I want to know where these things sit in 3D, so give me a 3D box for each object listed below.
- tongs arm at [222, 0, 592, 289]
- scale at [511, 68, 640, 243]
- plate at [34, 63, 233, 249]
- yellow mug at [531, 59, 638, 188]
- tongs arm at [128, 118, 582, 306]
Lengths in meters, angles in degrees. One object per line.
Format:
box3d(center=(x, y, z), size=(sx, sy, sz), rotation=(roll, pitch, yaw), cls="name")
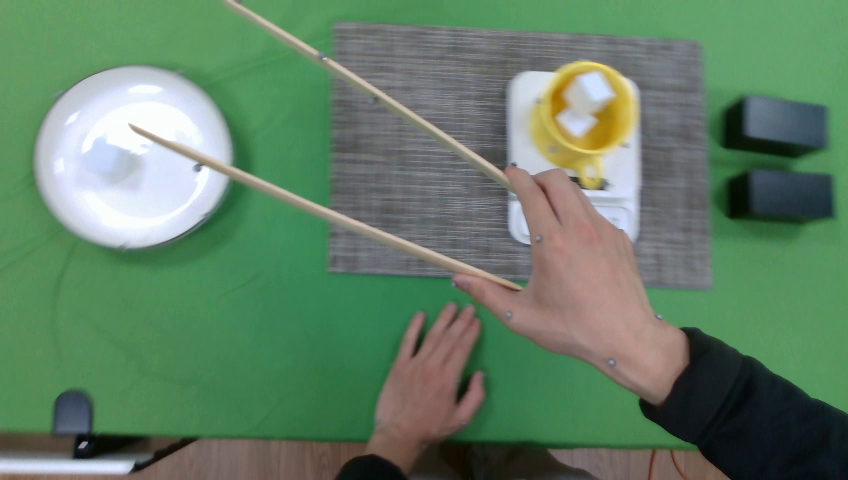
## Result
box3d(center=(-0.029, -0.087, 0.480), size=(0.383, 0.026, 0.050), rotation=(33, 82, 12), cls="tongs arm")
box3d(center=(0.176, -0.098, 0.706), size=(0.149, 0.031, 0.200), rotation=(2, 84, -3), cls="scale")
box3d(center=(-0.316, -0.091, 0.674), size=(0.208, 0.039, 0.207), rotation=(1, 84, -4), cls="plate")
box3d(center=(0.176, -0.122, 0.662), size=(0.100, 0.064, 0.130), rotation=(-8, 86, -5), cls="yellow mug")
box3d(center=(-0.067, -0.026, 0.472), size=(0.386, 0.028, 0.028), rotation=(23, 76, 11), cls="tongs arm")
